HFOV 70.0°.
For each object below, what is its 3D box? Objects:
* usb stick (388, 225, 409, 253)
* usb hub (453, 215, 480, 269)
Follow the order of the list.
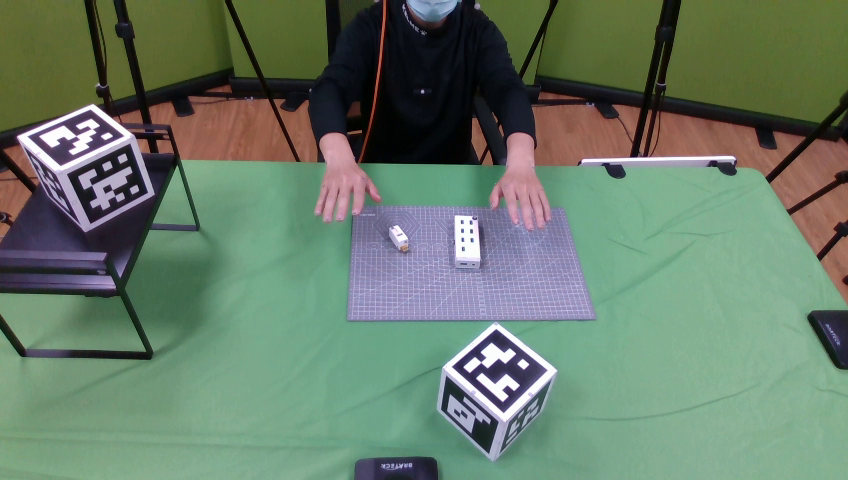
[{"bbox_3d":[-0.048,0.000,1.187,0.021,0.027,0.059,-19,53,-24],"label":"usb stick"},{"bbox_3d":[0.084,0.003,1.196,0.049,0.025,0.124,3,47,-2],"label":"usb hub"}]
